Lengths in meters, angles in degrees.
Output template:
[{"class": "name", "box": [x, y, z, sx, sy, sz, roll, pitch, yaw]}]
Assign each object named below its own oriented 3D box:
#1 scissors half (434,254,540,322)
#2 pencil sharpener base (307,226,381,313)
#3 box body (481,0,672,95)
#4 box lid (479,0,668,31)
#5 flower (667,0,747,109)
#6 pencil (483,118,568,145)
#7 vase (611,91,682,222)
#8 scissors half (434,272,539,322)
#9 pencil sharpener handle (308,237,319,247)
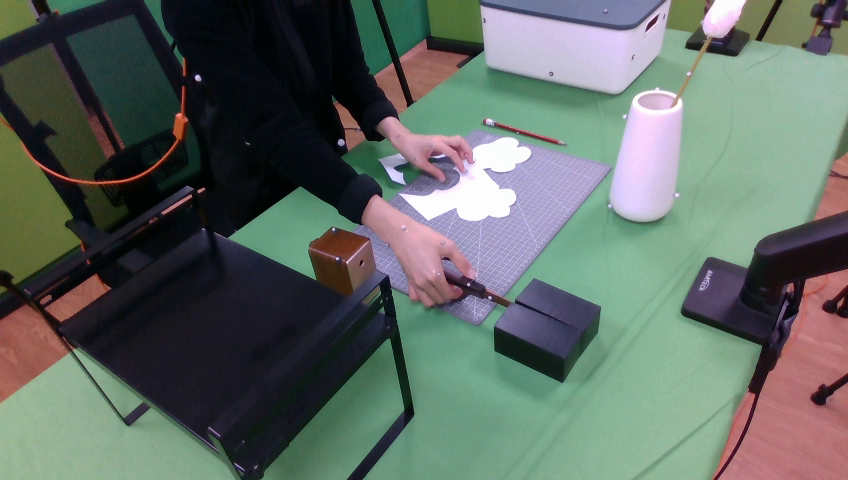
[{"class": "scissors half", "box": [0.083, 0.065, 0.827, 0.174, 0.040, 0.013, 32, 53, 24]}, {"class": "pencil sharpener base", "box": [-0.116, 0.043, 0.875, 0.076, 0.107, 0.061, 18, 47, 27]}, {"class": "box body", "box": [0.341, -0.480, 1.381, 0.361, 0.161, 0.255, 22, 48, 30]}, {"class": "box lid", "box": [0.335, -0.536, 1.331, 0.368, 0.015, 0.264, 23, 49, 30]}, {"class": "flower", "box": [0.354, -0.187, 0.879, 0.038, 0.362, 0.044, 31, 48, 14]}, {"class": "pencil", "box": [0.201, -0.217, 1.212, 0.192, 0.012, 0.012, 24, 49, 29]}, {"class": "vase", "box": [0.348, -0.125, 0.935, 0.098, 0.201, 0.097, -3, 40, 3]}, {"class": "scissors half", "box": [0.084, 0.082, 0.839, 0.174, 0.040, 0.013, 18, 41, 37]}, {"class": "pencil sharpener handle", "box": [-0.159, 0.017, 0.892, 0.030, 0.068, 0.036, 18, 61, 28]}]
